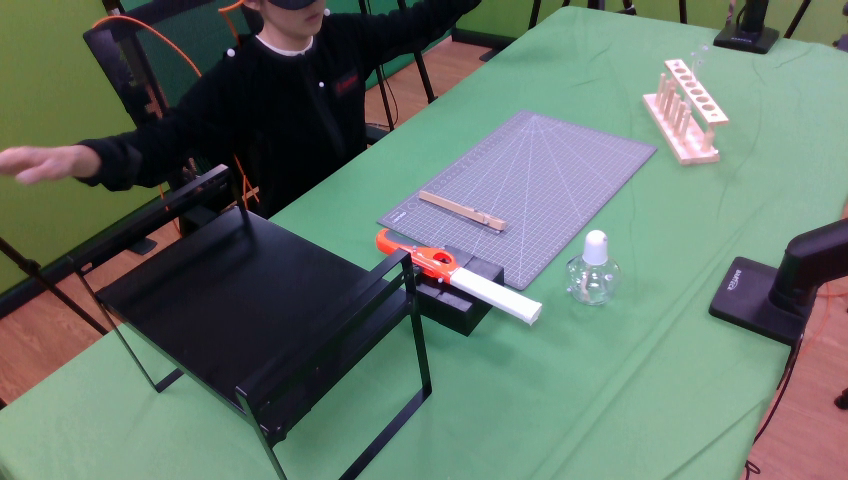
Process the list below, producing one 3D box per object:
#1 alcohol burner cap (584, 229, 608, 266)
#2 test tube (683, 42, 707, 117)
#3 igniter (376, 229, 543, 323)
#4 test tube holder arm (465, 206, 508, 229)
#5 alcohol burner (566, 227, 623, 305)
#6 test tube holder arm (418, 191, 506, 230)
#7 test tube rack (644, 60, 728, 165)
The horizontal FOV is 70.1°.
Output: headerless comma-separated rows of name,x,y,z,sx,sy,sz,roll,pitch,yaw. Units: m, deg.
alcohol burner cap,0.233,0.007,0.814,0.034,0.048,0.033,-5,40,4
test tube,0.497,-0.292,1.114,0.017,0.151,0.017,-4,44,4
igniter,0.038,0.044,0.843,0.274,0.025,0.057,25,47,29
test tube holder arm,0.100,-0.038,1.005,0.087,0.015,0.010,23,14,32
alcohol burner,0.236,0.031,0.833,0.078,0.119,0.077,-6,39,5
test tube holder arm,0.061,-0.052,1.024,0.177,0.015,0.013,23,14,31
test tube rack,0.485,-0.246,1.139,0.067,0.085,0.241,-5,41,4
